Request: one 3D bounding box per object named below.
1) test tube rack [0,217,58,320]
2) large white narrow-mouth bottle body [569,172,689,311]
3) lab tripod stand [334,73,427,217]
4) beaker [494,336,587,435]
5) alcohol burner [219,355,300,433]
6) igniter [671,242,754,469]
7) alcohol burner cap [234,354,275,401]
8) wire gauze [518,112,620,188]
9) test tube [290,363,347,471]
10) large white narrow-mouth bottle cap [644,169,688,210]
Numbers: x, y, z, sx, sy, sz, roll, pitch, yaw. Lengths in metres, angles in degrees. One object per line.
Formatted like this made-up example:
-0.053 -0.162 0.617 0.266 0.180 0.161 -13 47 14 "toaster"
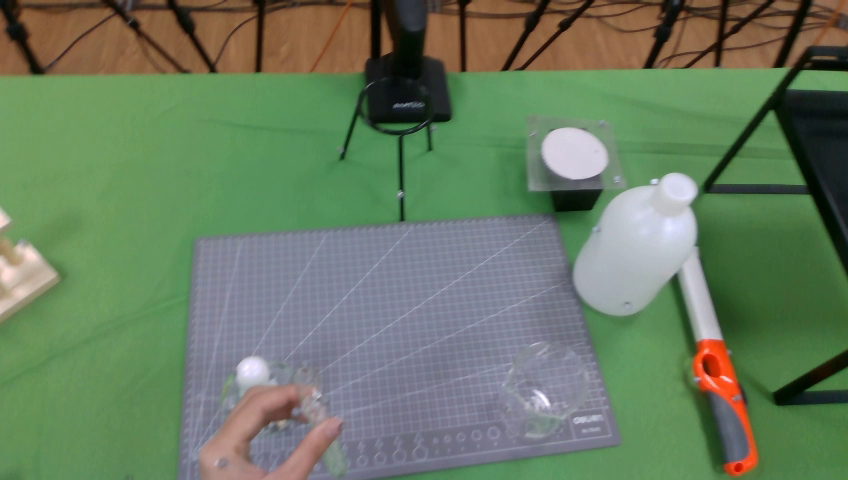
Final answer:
-0.512 0.077 0.602 0.066 0.086 0.242 38 62 17 "test tube rack"
0.231 -0.004 0.668 0.102 0.196 0.101 2 58 -3 "large white narrow-mouth bottle body"
-0.044 -0.123 0.748 0.148 0.132 0.147 4 59 -6 "lab tripod stand"
0.110 0.152 0.612 0.084 0.101 0.073 -7 59 -9 "beaker"
-0.159 0.142 0.581 0.078 0.120 0.077 4 57 -6 "alcohol burner"
0.326 0.121 0.700 0.057 0.025 0.274 7 57 -14 "igniter"
-0.156 0.123 0.550 0.034 0.048 0.033 1 53 -2 "alcohol burner cap"
0.184 -0.117 0.785 0.121 0.011 0.124 2 58 -5 "wire gauze"
-0.072 0.131 0.431 0.017 0.151 0.017 -2 49 2 "test tube"
0.237 -0.050 0.596 0.038 0.024 0.037 3 58 -4 "large white narrow-mouth bottle cap"
